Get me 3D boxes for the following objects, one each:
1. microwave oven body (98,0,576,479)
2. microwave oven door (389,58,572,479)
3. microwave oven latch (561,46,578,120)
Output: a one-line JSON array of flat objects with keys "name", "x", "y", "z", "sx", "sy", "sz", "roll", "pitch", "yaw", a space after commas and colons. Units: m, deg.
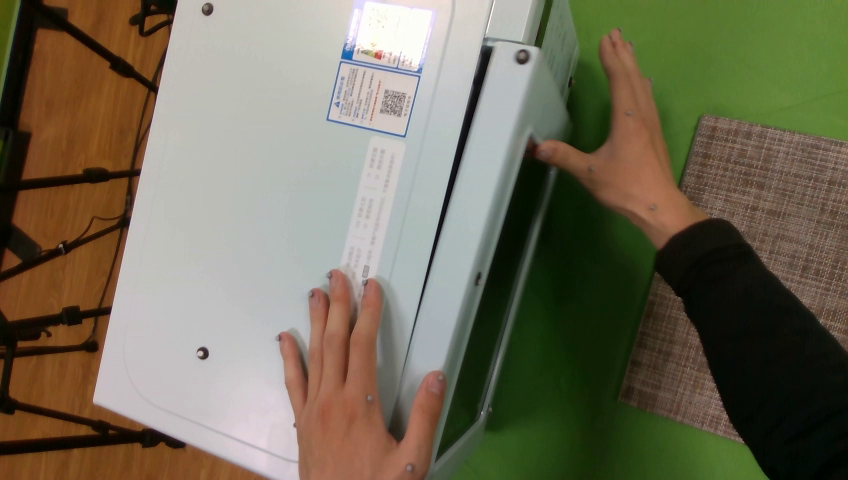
[{"name": "microwave oven body", "x": -0.071, "y": -0.025, "z": 0.587, "sx": 0.324, "sy": 0.261, "sz": 0.441, "roll": 14, "pitch": 93, "yaw": 19}, {"name": "microwave oven door", "x": 0.055, "y": 0.049, "z": 0.536, "sx": 0.039, "sy": 0.245, "sz": 0.356, "roll": 15, "pitch": 93, "yaw": 20}, {"name": "microwave oven latch", "x": 0.138, "y": -0.159, "z": 0.622, "sx": 0.030, "sy": 0.029, "sz": 0.079, "roll": 13, "pitch": 93, "yaw": 19}]
